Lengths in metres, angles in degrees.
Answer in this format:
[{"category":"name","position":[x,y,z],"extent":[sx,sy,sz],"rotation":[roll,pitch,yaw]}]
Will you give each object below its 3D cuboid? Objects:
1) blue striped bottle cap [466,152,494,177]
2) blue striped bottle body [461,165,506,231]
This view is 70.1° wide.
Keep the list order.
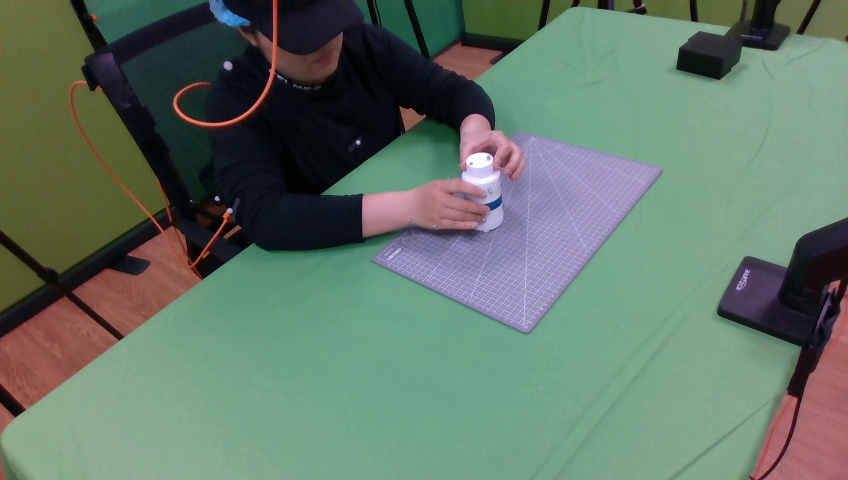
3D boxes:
[{"category":"blue striped bottle cap","position":[0.088,-0.119,0.945],"extent":[0.044,0.021,0.044],"rotation":[-4,42,4]},{"category":"blue striped bottle body","position":[0.096,-0.079,0.977],"extent":[0.063,0.121,0.063],"rotation":[-8,39,7]}]
